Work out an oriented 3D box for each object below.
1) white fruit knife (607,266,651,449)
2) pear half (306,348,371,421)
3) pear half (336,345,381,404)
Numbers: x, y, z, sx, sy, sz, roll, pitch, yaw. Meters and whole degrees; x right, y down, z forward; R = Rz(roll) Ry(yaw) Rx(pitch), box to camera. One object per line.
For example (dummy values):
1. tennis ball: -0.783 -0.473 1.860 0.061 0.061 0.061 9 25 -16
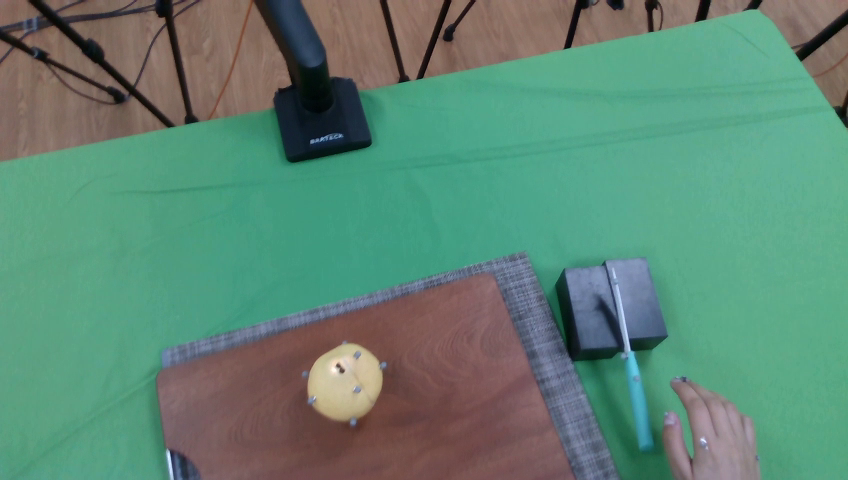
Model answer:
1. white fruit knife: 0.225 0.131 0.675 0.016 0.027 0.207 -10 85 2
2. pear half: -0.093 0.149 0.617 0.056 0.110 0.076 -36 66 -17
3. pear half: -0.065 0.134 0.636 0.031 0.089 0.070 -36 65 -17
